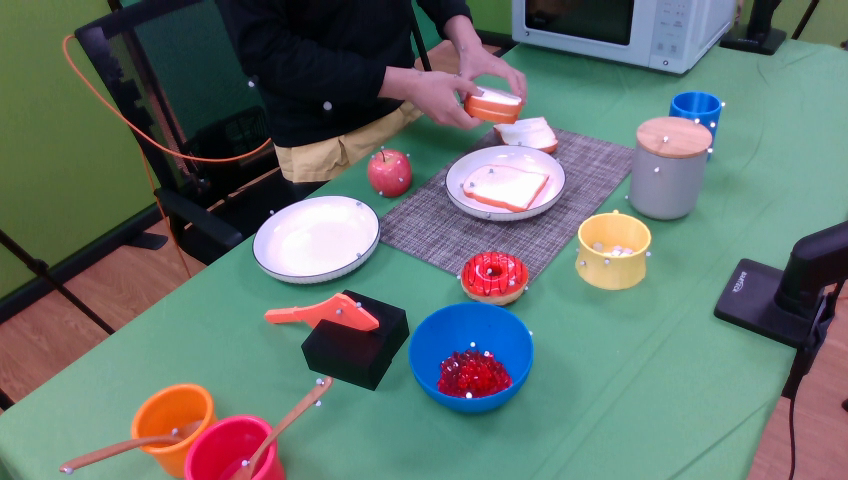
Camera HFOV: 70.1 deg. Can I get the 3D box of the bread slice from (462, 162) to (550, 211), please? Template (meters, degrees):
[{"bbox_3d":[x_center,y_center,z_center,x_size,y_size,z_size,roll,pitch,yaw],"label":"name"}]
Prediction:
[{"bbox_3d":[0.135,-0.094,1.045,0.133,0.018,0.107,15,45,23],"label":"bread slice"}]

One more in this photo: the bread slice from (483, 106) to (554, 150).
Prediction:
[{"bbox_3d":[0.186,-0.203,1.161,0.105,0.019,0.130,-23,44,-5],"label":"bread slice"}]

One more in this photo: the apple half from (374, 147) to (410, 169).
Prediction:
[{"bbox_3d":[-0.052,-0.140,1.100,0.081,0.082,0.033,17,52,26],"label":"apple half"}]

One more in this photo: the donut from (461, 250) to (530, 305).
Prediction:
[{"bbox_3d":[0.103,0.053,0.872,0.099,0.048,0.098,-4,40,4],"label":"donut"}]

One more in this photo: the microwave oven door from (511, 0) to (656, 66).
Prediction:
[{"bbox_3d":[0.351,-0.540,1.349,0.353,0.245,0.039,24,50,31],"label":"microwave oven door"}]

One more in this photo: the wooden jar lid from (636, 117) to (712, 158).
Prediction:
[{"bbox_3d":[0.377,-0.151,0.917,0.108,0.021,0.108,-2,41,3],"label":"wooden jar lid"}]

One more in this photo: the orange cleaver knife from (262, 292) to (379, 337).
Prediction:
[{"bbox_3d":[-0.145,0.107,0.821,0.210,0.077,0.012,-13,36,43],"label":"orange cleaver knife"}]

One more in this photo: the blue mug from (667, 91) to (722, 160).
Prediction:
[{"bbox_3d":[0.474,-0.207,1.079,0.082,0.106,0.116,4,42,13],"label":"blue mug"}]

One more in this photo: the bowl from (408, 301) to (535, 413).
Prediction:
[{"bbox_3d":[0.060,0.156,0.739,0.151,0.077,0.150,-4,40,4],"label":"bowl"}]

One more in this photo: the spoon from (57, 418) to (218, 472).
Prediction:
[{"bbox_3d":[-0.304,0.221,0.661,0.041,0.195,0.021,20,92,27],"label":"spoon"}]

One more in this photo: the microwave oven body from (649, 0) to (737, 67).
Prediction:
[{"bbox_3d":[0.475,-0.602,1.411,0.438,0.261,0.327,23,50,32],"label":"microwave oven body"}]

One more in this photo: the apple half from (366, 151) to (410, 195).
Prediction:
[{"bbox_3d":[-0.070,-0.114,1.075,0.080,0.075,0.053,17,51,23],"label":"apple half"}]

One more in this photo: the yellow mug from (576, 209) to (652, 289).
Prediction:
[{"bbox_3d":[0.279,0.004,0.893,0.099,0.064,0.130,5,42,14],"label":"yellow mug"}]

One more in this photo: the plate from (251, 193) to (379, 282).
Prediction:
[{"bbox_3d":[-0.174,-0.001,0.984,0.209,0.038,0.208,-4,40,3],"label":"plate"}]

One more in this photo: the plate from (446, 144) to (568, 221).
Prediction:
[{"bbox_3d":[0.142,-0.096,1.045,0.207,0.039,0.206,-4,40,4],"label":"plate"}]

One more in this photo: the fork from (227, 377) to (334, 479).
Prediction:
[{"bbox_3d":[-0.162,0.216,0.647,0.207,0.019,0.028,-49,41,16],"label":"fork"}]

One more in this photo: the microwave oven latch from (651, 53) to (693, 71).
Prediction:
[{"bbox_3d":[0.532,-0.386,1.301,0.078,0.029,0.030,27,52,34],"label":"microwave oven latch"}]

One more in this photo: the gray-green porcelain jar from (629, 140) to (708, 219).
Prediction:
[{"bbox_3d":[0.383,-0.105,0.958,0.106,0.127,0.105,-4,41,4],"label":"gray-green porcelain jar"}]
